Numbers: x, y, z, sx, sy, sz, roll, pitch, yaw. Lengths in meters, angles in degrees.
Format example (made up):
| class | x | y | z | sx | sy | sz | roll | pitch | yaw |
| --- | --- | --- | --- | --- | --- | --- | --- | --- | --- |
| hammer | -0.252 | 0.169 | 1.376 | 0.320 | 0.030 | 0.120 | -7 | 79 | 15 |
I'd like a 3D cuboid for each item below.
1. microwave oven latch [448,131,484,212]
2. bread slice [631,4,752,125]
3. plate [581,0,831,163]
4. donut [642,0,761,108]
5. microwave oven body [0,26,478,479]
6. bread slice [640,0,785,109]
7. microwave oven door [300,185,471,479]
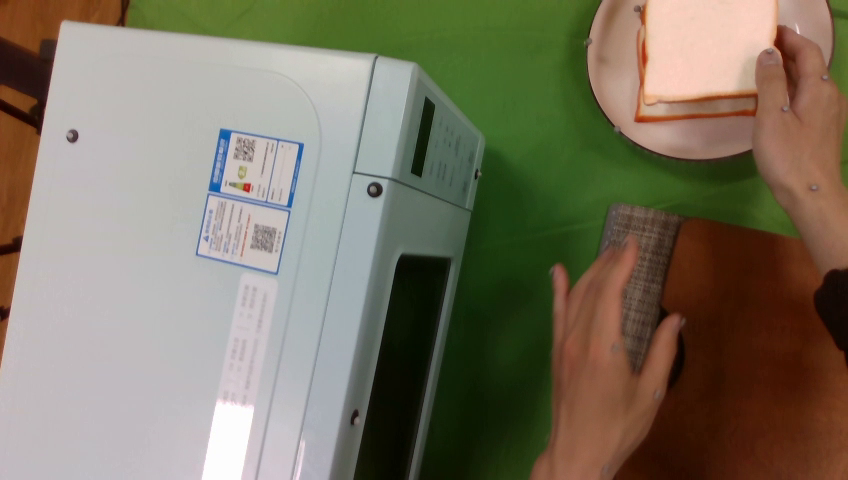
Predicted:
| class | x | y | z | sx | sy | sz | roll | pitch | yaw |
| --- | --- | --- | --- | --- | --- | --- | --- | --- | --- |
| microwave oven latch | 0.039 | -0.069 | 0.603 | 0.030 | 0.029 | 0.079 | 12 | 92 | 16 |
| bread slice | 0.246 | -0.174 | 0.564 | 0.104 | 0.019 | 0.131 | -2 | 88 | 15 |
| plate | 0.252 | -0.172 | 0.561 | 0.207 | 0.039 | 0.207 | -1 | 88 | 17 |
| donut | 0.243 | -0.167 | 0.533 | 0.099 | 0.048 | 0.099 | 1 | 93 | 12 |
| microwave oven body | -0.161 | 0.073 | 0.557 | 0.325 | 0.261 | 0.441 | 11 | 92 | 16 |
| bread slice | 0.232 | -0.176 | 0.506 | 0.106 | 0.018 | 0.134 | -5 | 81 | 18 |
| microwave oven door | -0.034 | 0.141 | 0.511 | 0.039 | 0.245 | 0.355 | 11 | 91 | 18 |
